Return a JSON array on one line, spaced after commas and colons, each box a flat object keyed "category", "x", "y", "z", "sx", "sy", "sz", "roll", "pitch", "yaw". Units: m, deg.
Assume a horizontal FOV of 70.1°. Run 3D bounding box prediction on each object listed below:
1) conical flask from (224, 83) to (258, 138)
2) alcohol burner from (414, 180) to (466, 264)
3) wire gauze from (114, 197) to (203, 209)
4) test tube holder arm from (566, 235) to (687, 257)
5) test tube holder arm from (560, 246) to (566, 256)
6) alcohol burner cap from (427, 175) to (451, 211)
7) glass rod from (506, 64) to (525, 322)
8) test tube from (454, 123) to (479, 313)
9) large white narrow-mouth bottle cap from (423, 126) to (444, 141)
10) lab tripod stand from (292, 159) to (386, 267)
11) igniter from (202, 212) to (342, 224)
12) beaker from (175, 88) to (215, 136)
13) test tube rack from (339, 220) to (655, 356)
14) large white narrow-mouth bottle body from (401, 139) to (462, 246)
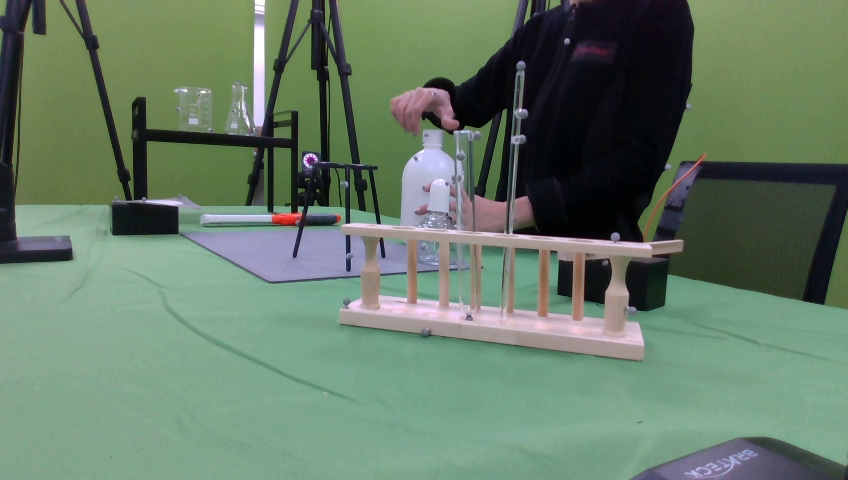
[{"category": "conical flask", "x": -0.422, "y": -0.299, "z": 1.395, "sx": 0.075, "sy": 0.122, "sz": 0.075, "roll": 2, "pitch": 7, "yaw": 0}, {"category": "alcohol burner", "x": 0.021, "y": -0.028, "z": 0.826, "sx": 0.078, "sy": 0.119, "sz": 0.078, "roll": 0, "pitch": 6, "yaw": 0}, {"category": "wire gauze", "x": -0.447, "y": -0.062, "z": 1.015, "sx": 0.126, "sy": 0.011, "sz": 0.121, "roll": -2, "pitch": 8, "yaw": -31}, {"category": "test tube holder arm", "x": 0.215, "y": 0.006, "z": 0.630, "sx": 0.179, "sy": 0.015, "sz": 0.013, "roll": -3, "pitch": 10, "yaw": -30}, {"category": "test tube holder arm", "x": 0.173, "y": 0.007, "z": 0.611, "sx": 0.088, "sy": 0.015, "sz": 0.010, "roll": -3, "pitch": 10, "yaw": -30}, {"category": "alcohol burner cap", "x": 0.023, "y": -0.064, "z": 0.822, "sx": 0.034, "sy": 0.048, "sz": 0.034, "roll": 7, "pitch": 5, "yaw": 0}, {"category": "glass rod", "x": 0.069, "y": -0.030, "z": 0.458, "sx": 0.008, "sy": 0.199, "sz": 0.008, "roll": 0, "pitch": 15, "yaw": 0}, {"category": "test tube", "x": 0.034, "y": -0.016, "z": 0.477, "sx": 0.017, "sy": 0.150, "sz": 0.017, "roll": -2, "pitch": 9, "yaw": 1}, {"category": "large white narrow-mouth bottle cap", "x": 0.016, "y": -0.179, "z": 1.017, "sx": 0.038, "sy": 0.024, "sz": 0.037, "roll": 2, "pitch": 8, "yaw": 0}, {"category": "lab tripod stand", "x": -0.105, "y": -0.039, "z": 0.798, "sx": 0.148, "sy": 0.131, "sz": 0.148, "roll": 2, "pitch": 5, "yaw": 0}, {"category": "igniter", "x": -0.298, "y": -0.044, "z": 1.216, "sx": 0.278, "sy": 0.025, "sz": 0.057, "roll": -2, "pitch": -2, "yaw": -33}, {"category": "beaker", "x": -0.511, "y": -0.285, "z": 1.353, "sx": 0.084, "sy": 0.100, "sz": 0.073, "roll": -2, "pitch": 8, "yaw": -25}, {"category": "test tube rack", "x": 0.056, "y": 0.032, "z": 0.495, "sx": 0.242, "sy": 0.085, "sz": 0.067, "roll": 4, "pitch": 7, "yaw": 15}, {"category": "large white narrow-mouth bottle body", "x": 0.014, "y": -0.092, "z": 1.030, "sx": 0.102, "sy": 0.194, "sz": 0.102, "roll": 2, "pitch": 8, "yaw": 0}]
